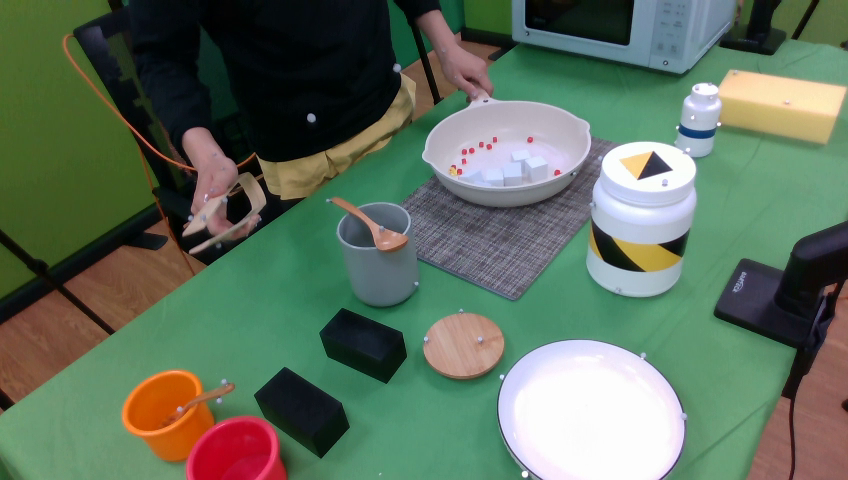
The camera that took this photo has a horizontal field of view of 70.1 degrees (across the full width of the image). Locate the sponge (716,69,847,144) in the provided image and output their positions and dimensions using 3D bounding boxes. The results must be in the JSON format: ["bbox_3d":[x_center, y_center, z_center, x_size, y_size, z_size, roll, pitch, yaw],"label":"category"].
[{"bbox_3d":[0.663,-0.256,1.142,0.205,0.061,0.118,19,47,28],"label":"sponge"}]

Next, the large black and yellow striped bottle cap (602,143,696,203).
[{"bbox_3d":[0.289,-0.088,0.779,0.115,0.019,0.114,-5,39,4],"label":"large black and yellow striped bottle cap"}]

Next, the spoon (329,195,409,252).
[{"bbox_3d":[-0.082,-0.029,0.828,0.042,0.022,0.192,-32,43,-20],"label":"spoon"}]

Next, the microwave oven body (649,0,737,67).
[{"bbox_3d":[0.475,-0.602,1.411,0.438,0.261,0.327,23,50,32],"label":"microwave oven body"}]

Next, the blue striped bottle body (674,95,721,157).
[{"bbox_3d":[0.486,-0.213,1.071,0.063,0.121,0.063,-4,41,4],"label":"blue striped bottle body"}]

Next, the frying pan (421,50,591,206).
[{"bbox_3d":[0.127,-0.233,1.154,0.307,0.103,0.484,-11,49,-5],"label":"frying pan"}]

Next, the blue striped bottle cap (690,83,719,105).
[{"bbox_3d":[0.482,-0.251,1.038,0.044,0.021,0.044,-5,40,5],"label":"blue striped bottle cap"}]

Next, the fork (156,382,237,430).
[{"bbox_3d":[-0.262,0.189,0.690,0.206,0.018,0.028,-34,9,42],"label":"fork"}]

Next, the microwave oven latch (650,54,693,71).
[{"bbox_3d":[0.531,-0.386,1.301,0.078,0.029,0.030,26,51,33],"label":"microwave oven latch"}]

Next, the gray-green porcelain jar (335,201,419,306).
[{"bbox_3d":[-0.064,0.024,0.872,0.106,0.127,0.105,-4,41,4],"label":"gray-green porcelain jar"}]

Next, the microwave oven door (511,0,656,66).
[{"bbox_3d":[0.351,-0.540,1.349,0.353,0.245,0.039,24,50,31],"label":"microwave oven door"}]

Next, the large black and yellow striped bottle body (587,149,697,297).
[{"bbox_3d":[0.298,-0.026,0.835,0.131,0.185,0.130,-4,41,4],"label":"large black and yellow striped bottle body"}]

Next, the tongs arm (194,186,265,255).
[{"bbox_3d":[-0.255,-0.033,0.824,0.028,0.028,0.386,-31,14,1],"label":"tongs arm"}]

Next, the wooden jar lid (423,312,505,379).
[{"bbox_3d":[0.053,0.142,0.800,0.108,0.021,0.108,-5,39,4],"label":"wooden jar lid"}]

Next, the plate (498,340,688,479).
[{"bbox_3d":[0.189,0.206,0.692,0.207,0.039,0.206,-4,40,4],"label":"plate"}]

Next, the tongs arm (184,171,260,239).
[{"bbox_3d":[-0.263,-0.047,0.819,0.026,0.051,0.382,-28,21,0],"label":"tongs arm"}]
